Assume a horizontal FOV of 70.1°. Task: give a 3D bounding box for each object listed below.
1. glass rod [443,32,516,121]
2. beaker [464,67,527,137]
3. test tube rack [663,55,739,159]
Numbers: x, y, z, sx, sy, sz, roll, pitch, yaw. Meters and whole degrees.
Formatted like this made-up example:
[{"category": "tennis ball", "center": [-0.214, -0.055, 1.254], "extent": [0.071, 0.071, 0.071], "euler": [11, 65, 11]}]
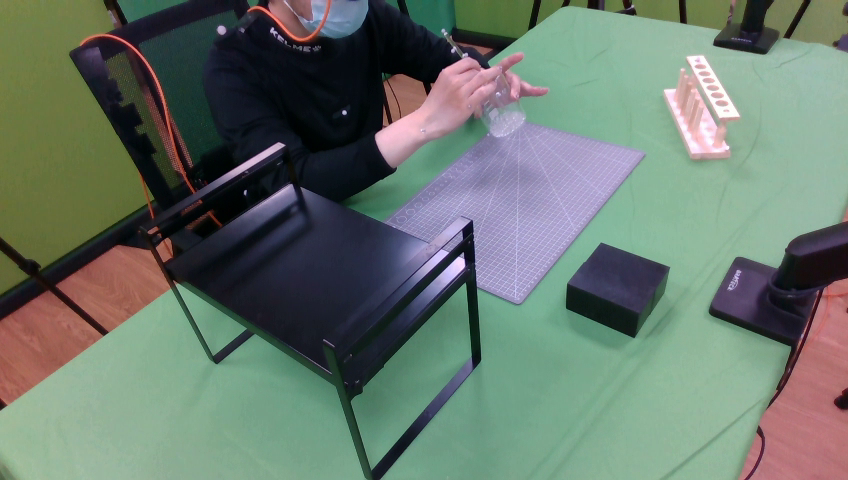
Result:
[{"category": "glass rod", "center": [0.096, -0.269, 1.010], "extent": [0.008, 0.201, 0.008], "euler": [-32, 33, 24]}, {"category": "beaker", "center": [0.127, -0.235, 1.036], "extent": [0.084, 0.101, 0.073], "euler": [-49, 30, -18]}, {"category": "test tube rack", "center": [0.517, -0.256, 1.144], "extent": [0.066, 0.085, 0.241], "euler": [-1, 41, 8]}]
